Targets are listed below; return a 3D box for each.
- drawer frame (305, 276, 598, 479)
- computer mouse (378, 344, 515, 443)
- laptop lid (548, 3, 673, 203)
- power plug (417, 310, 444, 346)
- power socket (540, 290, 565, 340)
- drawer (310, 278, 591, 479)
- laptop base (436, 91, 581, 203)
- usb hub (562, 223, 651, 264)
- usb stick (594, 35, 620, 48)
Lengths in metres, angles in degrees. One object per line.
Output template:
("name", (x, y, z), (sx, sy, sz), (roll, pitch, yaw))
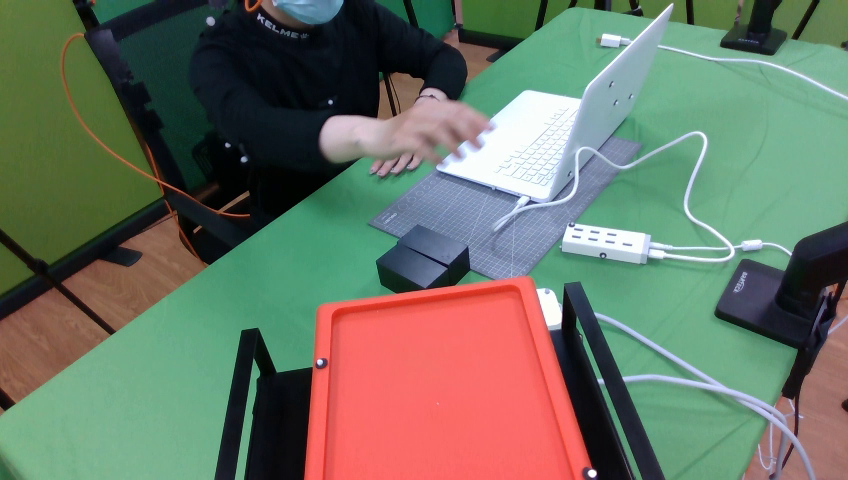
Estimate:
("drawer frame", (0.014, 0.137, 0.486), (0.202, 0.083, 0.212), (-8, 41, -1))
("computer mouse", (0.017, 0.125, 0.521), (0.116, 0.041, 0.063), (13, 47, 30))
("laptop lid", (0.320, -0.235, 1.026), (0.013, 0.242, 0.357), (31, 50, 20))
("power plug", (0.007, 0.122, 0.786), (0.035, 0.053, 0.072), (1, 39, 7))
("power socket", (0.081, 0.112, 0.822), (0.227, 0.033, 0.072), (-6, 41, 0))
("drawer", (0.013, 0.137, 0.489), (0.195, 0.073, 0.210), (-7, 41, 0))
("laptop base", (0.214, -0.192, 1.172), (0.233, 0.023, 0.355), (19, 46, 32))
("usb hub", (0.279, 0.005, 0.926), (0.124, 0.025, 0.049), (10, 43, 19))
("usb stick", (0.443, -0.482, 1.466), (0.059, 0.021, 0.027), (10, 43, 10))
